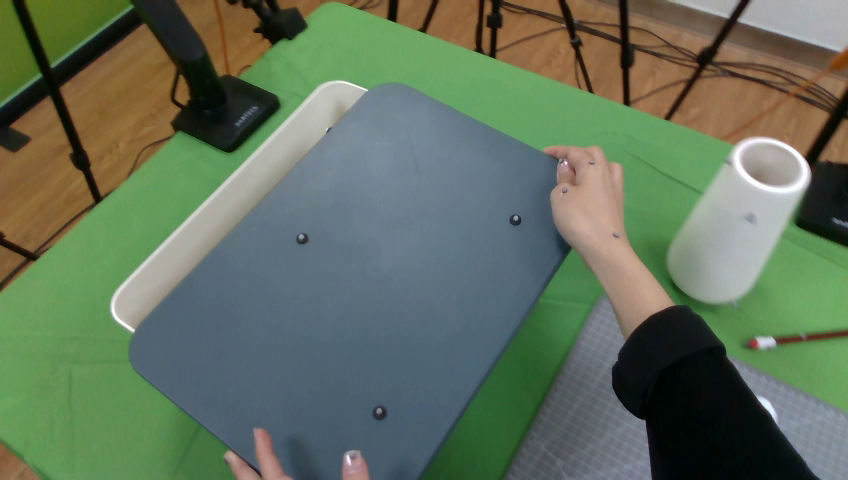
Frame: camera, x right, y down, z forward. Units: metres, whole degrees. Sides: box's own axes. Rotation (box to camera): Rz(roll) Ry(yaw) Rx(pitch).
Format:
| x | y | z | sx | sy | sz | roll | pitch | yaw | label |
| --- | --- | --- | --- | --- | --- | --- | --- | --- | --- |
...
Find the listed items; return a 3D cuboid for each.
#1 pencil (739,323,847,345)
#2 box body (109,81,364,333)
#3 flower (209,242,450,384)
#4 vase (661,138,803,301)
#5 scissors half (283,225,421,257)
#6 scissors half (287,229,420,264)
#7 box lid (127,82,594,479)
| x | y | z | sx | sy | sz | roll | pitch | yaw | label |
| --- | --- | --- | --- | --- | --- | --- | --- | --- | --- |
| 0.449 | 0.101 | 0.682 | 0.194 | 0.012 | 0.012 | -7 | 55 | -4 | pencil |
| -0.095 | 0.029 | 0.660 | 0.252 | 0.162 | 0.362 | 25 | 60 | 18 | box body |
| -0.091 | 0.071 | 0.736 | 0.038 | 0.044 | 0.362 | 18 | 34 | 42 | flower |
| 0.327 | -0.018 | 0.653 | 0.098 | 0.202 | 0.097 | -1 | 54 | 2 | vase |
| -0.091 | 0.001 | 0.753 | 0.175 | 0.040 | 0.012 | 0 | 19 | 7 | scissors half |
| -0.089 | 0.015 | 0.757 | 0.175 | 0.040 | 0.013 | -6 | 12 | 10 | scissors half |
| -0.043 | 0.023 | 0.527 | 0.262 | 0.015 | 0.370 | 30 | 67 | 18 | box lid |
